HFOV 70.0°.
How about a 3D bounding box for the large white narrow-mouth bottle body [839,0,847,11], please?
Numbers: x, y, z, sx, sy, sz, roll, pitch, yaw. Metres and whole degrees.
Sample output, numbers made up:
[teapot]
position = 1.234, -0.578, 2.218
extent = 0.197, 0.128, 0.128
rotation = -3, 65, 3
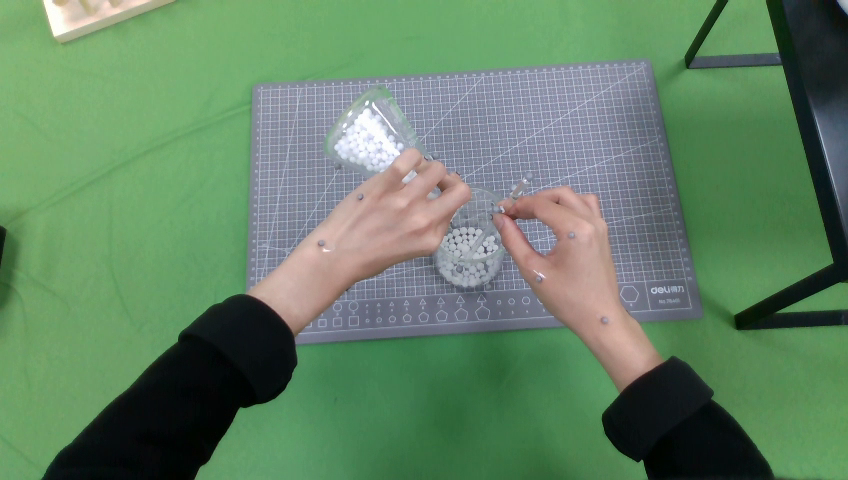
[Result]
[large white narrow-mouth bottle body]
position = 0.376, -0.239, 0.407
extent = 0.102, 0.196, 0.101
rotation = -1, 70, 3

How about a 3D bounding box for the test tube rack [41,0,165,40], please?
[test tube rack]
position = -0.337, -0.325, 0.697
extent = 0.242, 0.086, 0.066
rotation = -24, 72, -7

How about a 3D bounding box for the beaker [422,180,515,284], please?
[beaker]
position = 0.039, -0.003, 0.572
extent = 0.084, 0.101, 0.073
rotation = 19, 72, 9

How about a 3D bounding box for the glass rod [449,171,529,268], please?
[glass rod]
position = 0.050, -0.011, 0.517
extent = 0.008, 0.200, 0.008
rotation = 5, 68, -12

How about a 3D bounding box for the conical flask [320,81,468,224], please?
[conical flask]
position = -0.019, -0.067, 0.504
extent = 0.122, 0.075, 0.075
rotation = 42, 76, -5
